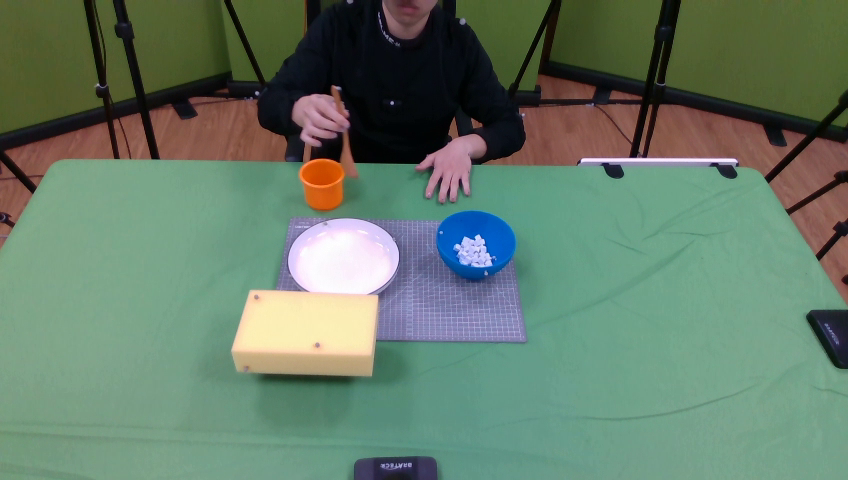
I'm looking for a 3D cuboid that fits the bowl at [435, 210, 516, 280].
[{"bbox_3d":[0.093,0.022,1.141,0.151,0.077,0.150,2,46,-2],"label":"bowl"}]

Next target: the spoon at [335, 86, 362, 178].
[{"bbox_3d":[-0.140,-0.191,1.100,0.041,0.195,0.021,26,48,32],"label":"spoon"}]

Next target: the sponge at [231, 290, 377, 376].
[{"bbox_3d":[-0.180,0.145,0.949,0.207,0.061,0.117,2,46,-2],"label":"sponge"}]

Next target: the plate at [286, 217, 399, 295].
[{"bbox_3d":[-0.150,0.041,1.131,0.209,0.038,0.208,2,45,-2],"label":"plate"}]
